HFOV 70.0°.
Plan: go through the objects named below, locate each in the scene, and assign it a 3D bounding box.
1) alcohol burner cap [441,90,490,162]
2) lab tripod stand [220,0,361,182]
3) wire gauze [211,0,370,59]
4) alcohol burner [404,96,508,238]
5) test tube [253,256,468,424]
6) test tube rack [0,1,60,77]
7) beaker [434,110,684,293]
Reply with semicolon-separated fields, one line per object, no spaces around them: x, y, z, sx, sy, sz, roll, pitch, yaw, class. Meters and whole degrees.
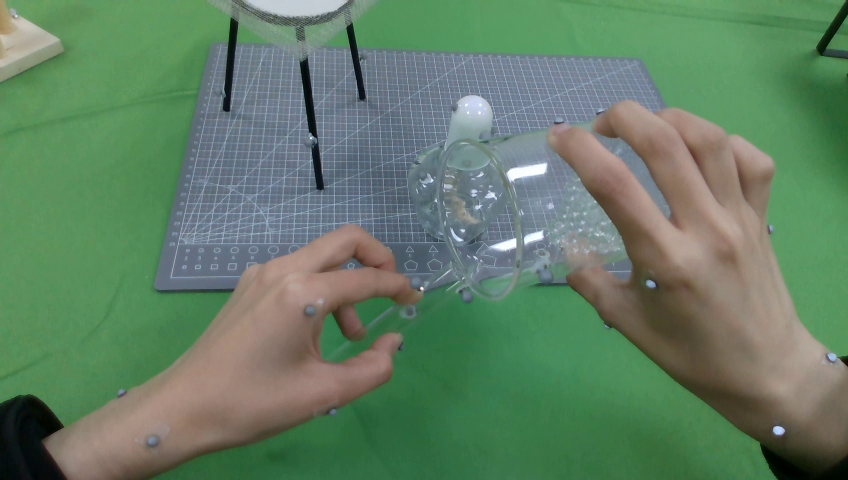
0.030;-0.079;0.412;0.034;0.048;0.033;2;55;-3;alcohol burner cap
-0.100;-0.141;0.479;0.148;0.132;0.147;5;51;-6;lab tripod stand
-0.095;-0.183;0.426;0.124;0.011;0.121;31;55;15;wire gauze
0.026;-0.058;0.441;0.078;0.120;0.077;5;50;-5;alcohol burner
-0.038;0.057;0.325;0.150;0.017;0.017;-38;54;17;test tube
-0.430;-0.149;0.475;0.066;0.086;0.241;30;53;17;test tube rack
0.065;-0.020;0.293;0.100;0.084;0.073;-14;57;-22;beaker
